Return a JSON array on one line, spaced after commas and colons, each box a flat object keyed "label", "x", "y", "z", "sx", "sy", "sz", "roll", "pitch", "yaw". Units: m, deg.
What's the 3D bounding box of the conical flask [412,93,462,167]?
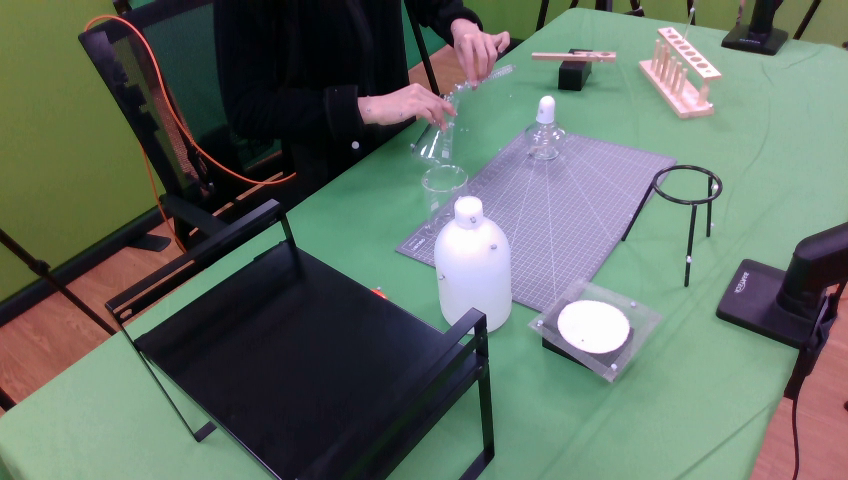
[{"label": "conical flask", "x": 0.030, "y": -0.194, "z": 1.063, "sx": 0.075, "sy": 0.122, "sz": 0.075, "roll": 18, "pitch": 13, "yaw": -4}]

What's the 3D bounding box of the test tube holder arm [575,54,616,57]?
[{"label": "test tube holder arm", "x": 0.373, "y": -0.398, "z": 1.318, "sx": 0.087, "sy": 0.015, "sz": 0.010, "roll": 5, "pitch": 51, "yaw": 15}]

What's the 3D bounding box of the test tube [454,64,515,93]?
[{"label": "test tube", "x": 0.111, "y": -0.291, "z": 1.084, "sx": 0.151, "sy": 0.017, "sz": 0.017, "roll": -28, "pitch": 44, "yaw": -32}]

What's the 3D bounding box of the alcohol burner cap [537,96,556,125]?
[{"label": "alcohol burner cap", "x": 0.223, "y": -0.237, "z": 1.095, "sx": 0.034, "sy": 0.048, "sz": 0.033, "roll": 0, "pitch": 42, "yaw": 1}]

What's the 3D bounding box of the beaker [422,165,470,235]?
[{"label": "beaker", "x": 0.041, "y": -0.063, "z": 0.986, "sx": 0.073, "sy": 0.101, "sz": 0.084, "roll": 20, "pitch": 47, "yaw": 29}]

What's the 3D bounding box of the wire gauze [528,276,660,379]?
[{"label": "wire gauze", "x": 0.214, "y": 0.103, "z": 0.763, "sx": 0.124, "sy": 0.011, "sz": 0.122, "roll": 30, "pitch": 52, "yaw": 35}]

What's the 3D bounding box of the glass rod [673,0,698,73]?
[{"label": "glass rod", "x": 0.537, "y": -0.424, "z": 1.244, "sx": 0.008, "sy": 0.200, "sz": 0.008, "roll": 0, "pitch": 47, "yaw": 0}]

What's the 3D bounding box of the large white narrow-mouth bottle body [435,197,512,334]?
[{"label": "large white narrow-mouth bottle body", "x": 0.066, "y": 0.028, "z": 0.805, "sx": 0.102, "sy": 0.195, "sz": 0.101, "roll": -4, "pitch": 40, "yaw": 4}]

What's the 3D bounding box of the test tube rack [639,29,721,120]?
[{"label": "test tube rack", "x": 0.527, "y": -0.351, "z": 1.262, "sx": 0.067, "sy": 0.085, "sz": 0.241, "roll": -8, "pitch": 40, "yaw": 1}]

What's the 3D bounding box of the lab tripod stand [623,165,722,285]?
[{"label": "lab tripod stand", "x": 0.365, "y": -0.030, "z": 0.875, "sx": 0.148, "sy": 0.132, "sz": 0.147, "roll": -6, "pitch": 41, "yaw": 6}]

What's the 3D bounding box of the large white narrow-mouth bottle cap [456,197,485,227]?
[{"label": "large white narrow-mouth bottle cap", "x": 0.058, "y": -0.036, "z": 0.750, "sx": 0.038, "sy": 0.024, "sz": 0.037, "roll": -4, "pitch": 40, "yaw": 4}]

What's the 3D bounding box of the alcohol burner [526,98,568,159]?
[{"label": "alcohol burner", "x": 0.228, "y": -0.210, "z": 1.118, "sx": 0.078, "sy": 0.119, "sz": 0.077, "roll": -5, "pitch": 43, "yaw": 5}]

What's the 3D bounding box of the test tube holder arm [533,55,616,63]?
[{"label": "test tube holder arm", "x": 0.329, "y": -0.398, "z": 1.327, "sx": 0.178, "sy": 0.015, "sz": 0.013, "roll": 5, "pitch": 51, "yaw": 15}]

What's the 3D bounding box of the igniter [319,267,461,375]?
[{"label": "igniter", "x": -0.060, "y": 0.108, "z": 0.862, "sx": 0.274, "sy": 0.025, "sz": 0.057, "roll": 28, "pitch": 62, "yaw": 35}]
